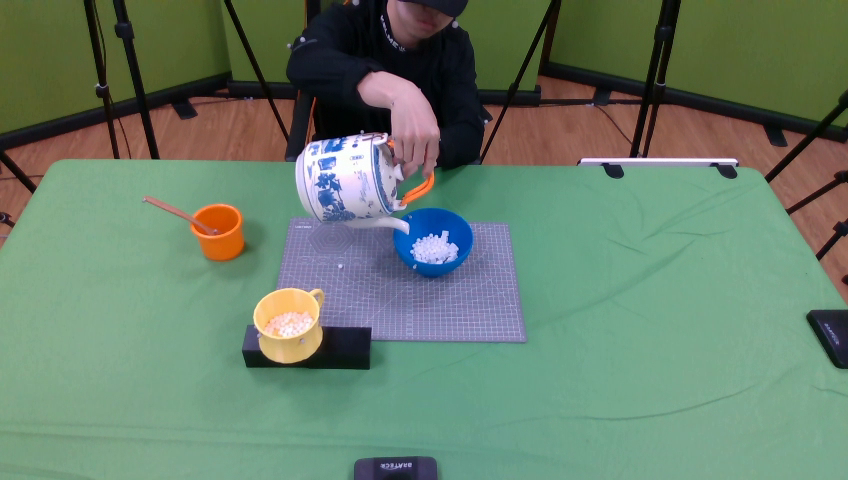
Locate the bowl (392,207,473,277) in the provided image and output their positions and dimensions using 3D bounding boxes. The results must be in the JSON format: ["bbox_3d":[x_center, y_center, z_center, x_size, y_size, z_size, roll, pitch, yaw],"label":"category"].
[{"bbox_3d":[0.014,0.016,1.140,0.151,0.077,0.150,2,47,-2],"label":"bowl"}]

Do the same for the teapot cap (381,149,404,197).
[{"bbox_3d":[-0.058,-0.114,1.038,0.044,0.085,0.084,-7,46,6],"label":"teapot cap"}]

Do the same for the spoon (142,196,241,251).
[{"bbox_3d":[-0.421,-0.032,1.108,0.021,0.195,0.041,-32,40,27],"label":"spoon"}]

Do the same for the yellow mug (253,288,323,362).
[{"bbox_3d":[-0.205,0.124,0.963,0.099,0.064,0.130,28,48,21],"label":"yellow mug"}]

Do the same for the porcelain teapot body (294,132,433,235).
[{"bbox_3d":[-0.090,-0.088,1.063,0.225,0.206,0.144,-8,38,10],"label":"porcelain teapot body"}]
